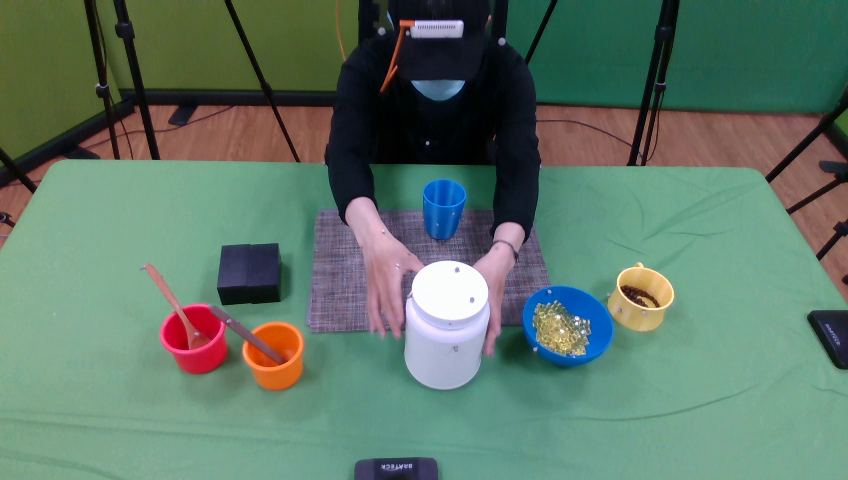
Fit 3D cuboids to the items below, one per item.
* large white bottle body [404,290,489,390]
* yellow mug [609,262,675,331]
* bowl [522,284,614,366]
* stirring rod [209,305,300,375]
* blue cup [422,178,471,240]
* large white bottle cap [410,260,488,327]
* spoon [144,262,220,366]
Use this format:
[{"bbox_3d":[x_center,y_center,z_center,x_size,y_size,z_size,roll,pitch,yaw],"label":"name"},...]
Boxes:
[{"bbox_3d":[0.034,0.136,0.955,0.131,0.185,0.130,2,46,-1],"label":"large white bottle body"},{"bbox_3d":[0.393,0.093,1.103,0.100,0.064,0.130,7,45,3],"label":"yellow mug"},{"bbox_3d":[0.235,0.158,1.022,0.151,0.077,0.150,2,46,-2],"label":"bowl"},{"bbox_3d":[-0.262,0.158,0.946,0.177,0.006,0.014,43,43,-21],"label":"stirring rod"},{"bbox_3d":[0.035,-0.056,1.192,0.093,0.101,0.092,3,45,-3],"label":"blue cup"},{"bbox_3d":[0.037,0.077,0.893,0.115,0.018,0.114,2,47,-2],"label":"large white bottle cap"},{"bbox_3d":[-0.389,0.118,0.971,0.041,0.021,0.194,-34,101,-33],"label":"spoon"}]
